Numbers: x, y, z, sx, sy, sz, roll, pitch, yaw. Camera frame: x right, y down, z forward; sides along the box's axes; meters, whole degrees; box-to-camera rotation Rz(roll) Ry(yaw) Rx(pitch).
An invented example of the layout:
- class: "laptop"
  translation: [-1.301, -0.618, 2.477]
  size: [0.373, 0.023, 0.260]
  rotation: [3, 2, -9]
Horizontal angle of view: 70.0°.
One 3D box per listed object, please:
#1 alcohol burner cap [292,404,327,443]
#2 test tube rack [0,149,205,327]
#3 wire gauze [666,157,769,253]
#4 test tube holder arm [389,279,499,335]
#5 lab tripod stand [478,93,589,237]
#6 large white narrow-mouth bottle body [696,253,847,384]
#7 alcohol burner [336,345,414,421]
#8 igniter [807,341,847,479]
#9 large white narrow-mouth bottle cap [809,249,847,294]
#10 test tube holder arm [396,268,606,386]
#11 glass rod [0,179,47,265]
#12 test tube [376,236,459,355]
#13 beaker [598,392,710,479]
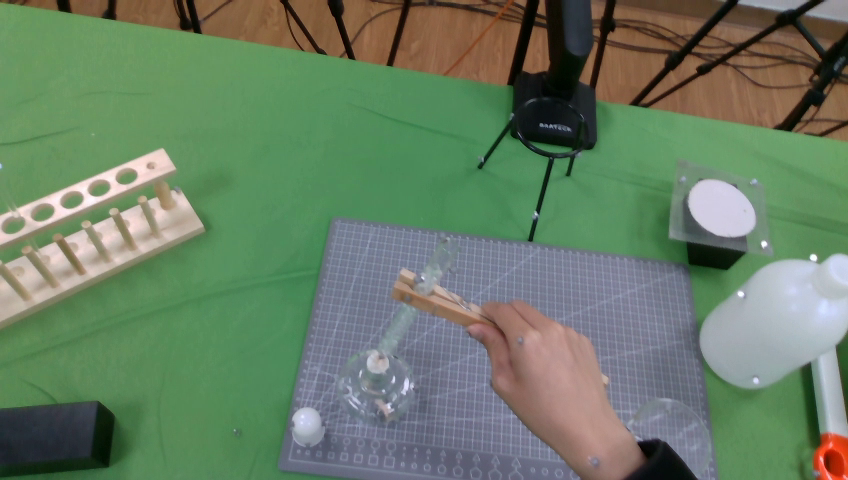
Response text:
- class: "alcohol burner cap"
  translation: [-0.115, 0.179, 0.598]
  size: [0.034, 0.048, 0.033]
  rotation: [2, 61, -3]
- class: "test tube rack"
  translation: [-0.373, -0.002, 0.653]
  size: [0.242, 0.086, 0.066]
  rotation: [-29, 67, -22]
- class: "wire gauze"
  translation: [0.364, -0.044, 0.754]
  size: [0.121, 0.011, 0.124]
  rotation: [14, 58, 2]
- class: "test tube holder arm"
  translation: [0.016, 0.052, 0.470]
  size: [0.088, 0.015, 0.010]
  rotation: [20, 44, -2]
- class: "lab tripod stand"
  translation: [0.140, -0.098, 0.744]
  size: [0.148, 0.132, 0.147]
  rotation: [4, 60, -6]
- class: "large white narrow-mouth bottle body"
  translation: [0.372, 0.074, 0.633]
  size: [0.102, 0.196, 0.101]
  rotation: [3, 58, -4]
- class: "alcohol burner"
  translation: [-0.047, 0.134, 0.591]
  size: [0.078, 0.120, 0.077]
  rotation: [4, 58, -6]
- class: "igniter"
  translation: [0.441, 0.217, 0.654]
  size: [0.057, 0.025, 0.274]
  rotation: [19, 58, -7]
- class: "large white narrow-mouth bottle cap"
  translation: [0.380, 0.029, 0.561]
  size: [0.038, 0.024, 0.037]
  rotation: [3, 59, -4]
- class: "test tube holder arm"
  translation: [0.059, 0.067, 0.472]
  size: [0.178, 0.015, 0.013]
  rotation: [26, 45, 4]
- class: "glass rod"
  translation: [-0.405, -0.036, 0.591]
  size: [0.008, 0.201, 0.008]
  rotation: [5, 50, -6]
- class: "test tube"
  translation: [-0.009, 0.050, 0.483]
  size: [0.017, 0.151, 0.017]
  rotation: [16, 44, -16]
- class: "beaker"
  translation: [0.216, 0.200, 0.591]
  size: [0.084, 0.101, 0.073]
  rotation: [5, 58, -3]
